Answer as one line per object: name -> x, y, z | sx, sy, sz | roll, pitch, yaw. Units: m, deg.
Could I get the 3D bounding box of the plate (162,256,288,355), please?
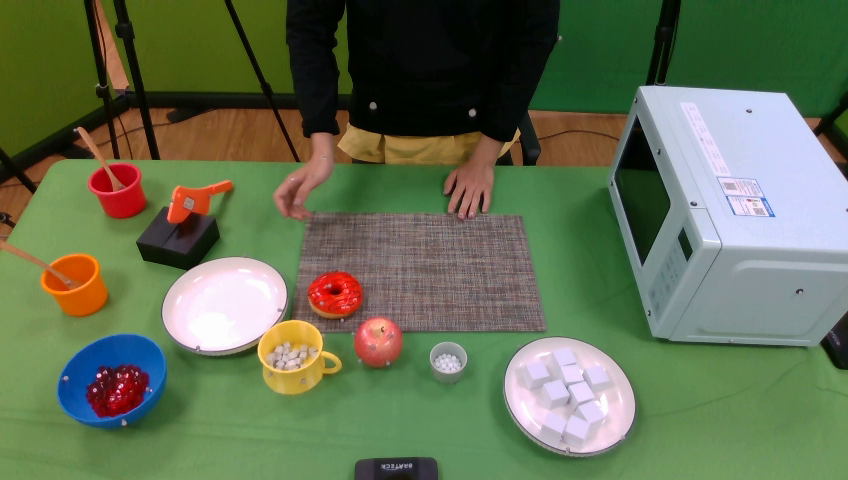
plate -> -0.341, 0.115, 1.051 | 0.209, 0.038, 0.208 | 2, 46, -2

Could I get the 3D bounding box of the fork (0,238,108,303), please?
fork -> -0.633, 0.048, 1.017 | 0.208, 0.018, 0.028 | 40, 41, -27

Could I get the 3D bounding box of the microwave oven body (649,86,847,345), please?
microwave oven body -> 0.567, -0.053, 1.118 | 0.326, 0.261, 0.439 | 2, 45, -1

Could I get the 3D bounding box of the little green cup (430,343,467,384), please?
little green cup -> 0.039, 0.203, 0.994 | 0.061, 0.039, 0.061 | 2, 46, -2

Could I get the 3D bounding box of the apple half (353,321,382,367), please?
apple half -> -0.098, 0.177, 0.984 | 0.033, 0.081, 0.081 | -17, 49, -25

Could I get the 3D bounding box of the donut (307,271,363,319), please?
donut -> -0.157, 0.097, 1.072 | 0.099, 0.048, 0.098 | 4, 45, -3

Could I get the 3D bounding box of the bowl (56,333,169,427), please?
bowl -> -0.456, 0.223, 0.911 | 0.151, 0.077, 0.150 | 3, 46, -2

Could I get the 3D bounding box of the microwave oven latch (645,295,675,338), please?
microwave oven latch -> 0.411, 0.134, 1.061 | 0.030, 0.029, 0.078 | 3, 45, 0

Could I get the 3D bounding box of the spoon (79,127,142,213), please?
spoon -> -0.625, -0.139, 1.203 | 0.041, 0.021, 0.194 | -33, 100, -26

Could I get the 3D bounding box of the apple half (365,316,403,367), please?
apple half -> -0.063, 0.165, 1.000 | 0.053, 0.075, 0.080 | -16, 45, -24

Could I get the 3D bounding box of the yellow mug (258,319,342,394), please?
yellow mug -> -0.196, 0.189, 0.972 | 0.131, 0.064, 0.099 | 9, 46, 4

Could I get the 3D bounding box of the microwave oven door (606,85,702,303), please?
microwave oven door -> 0.423, -0.094, 1.140 | 0.039, 0.245, 0.353 | 2, 46, -1

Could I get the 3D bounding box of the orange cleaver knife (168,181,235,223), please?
orange cleaver knife -> -0.436, -0.078, 1.196 | 0.012, 0.077, 0.211 | 16, 15, 10

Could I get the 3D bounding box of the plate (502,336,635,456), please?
plate -> 0.225, 0.248, 0.963 | 0.208, 0.039, 0.206 | 2, 46, -2
